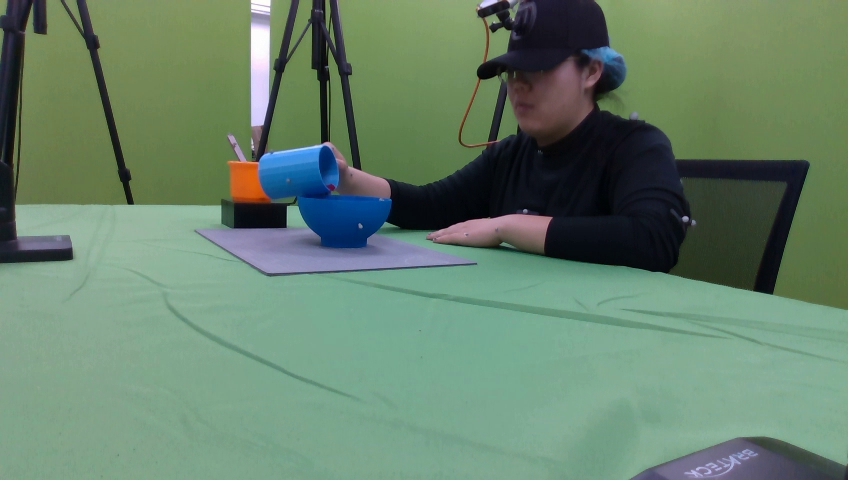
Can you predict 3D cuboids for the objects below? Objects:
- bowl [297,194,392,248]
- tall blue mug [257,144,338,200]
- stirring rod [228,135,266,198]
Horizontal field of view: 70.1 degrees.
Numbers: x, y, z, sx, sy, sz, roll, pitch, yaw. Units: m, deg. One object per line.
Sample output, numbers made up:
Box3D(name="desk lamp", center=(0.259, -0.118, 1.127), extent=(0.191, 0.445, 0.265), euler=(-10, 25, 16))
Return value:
Box3D(name="bowl", center=(-0.127, -0.030, 0.964), extent=(0.151, 0.077, 0.151), euler=(3, 7, 0))
Box3D(name="tall blue mug", center=(-0.204, -0.121, 1.002), extent=(0.108, 0.078, 0.107), euler=(-8, 44, 16))
Box3D(name="stirring rod", center=(-0.352, -0.148, 1.198), extent=(0.014, 0.006, 0.175), euler=(-6, 54, -44))
